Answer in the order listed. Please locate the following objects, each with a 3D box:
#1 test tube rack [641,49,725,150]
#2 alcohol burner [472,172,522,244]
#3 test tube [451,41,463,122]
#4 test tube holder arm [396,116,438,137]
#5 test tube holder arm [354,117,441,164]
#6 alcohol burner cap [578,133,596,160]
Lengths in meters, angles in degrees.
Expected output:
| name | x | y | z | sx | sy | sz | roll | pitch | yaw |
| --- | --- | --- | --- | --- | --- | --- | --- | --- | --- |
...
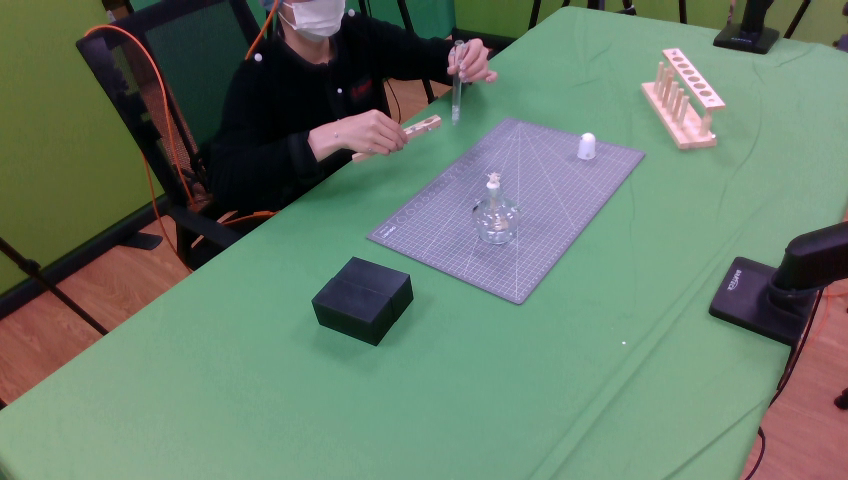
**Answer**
| name | x | y | z | sx | sy | sz | roll | pitch | yaw |
| --- | --- | --- | --- | --- | --- | --- | --- | --- | --- |
| test tube rack | 0.495 | -0.279 | 1.175 | 0.067 | 0.085 | 0.241 | -5 | 41 | 3 |
| alcohol burner | 0.112 | -0.053 | 0.942 | 0.078 | 0.119 | 0.077 | -6 | 40 | 6 |
| test tube | 0.058 | -0.276 | 1.065 | 0.017 | 0.151 | 0.017 | 1 | 41 | 0 |
| test tube holder arm | -0.011 | -0.200 | 1.087 | 0.088 | 0.015 | 0.010 | -29 | 42 | -20 |
| test tube holder arm | -0.045 | -0.177 | 1.067 | 0.179 | 0.015 | 0.013 | -30 | 43 | -21 |
| alcohol burner cap | 0.301 | -0.174 | 1.111 | 0.034 | 0.048 | 0.033 | -4 | 41 | 4 |
